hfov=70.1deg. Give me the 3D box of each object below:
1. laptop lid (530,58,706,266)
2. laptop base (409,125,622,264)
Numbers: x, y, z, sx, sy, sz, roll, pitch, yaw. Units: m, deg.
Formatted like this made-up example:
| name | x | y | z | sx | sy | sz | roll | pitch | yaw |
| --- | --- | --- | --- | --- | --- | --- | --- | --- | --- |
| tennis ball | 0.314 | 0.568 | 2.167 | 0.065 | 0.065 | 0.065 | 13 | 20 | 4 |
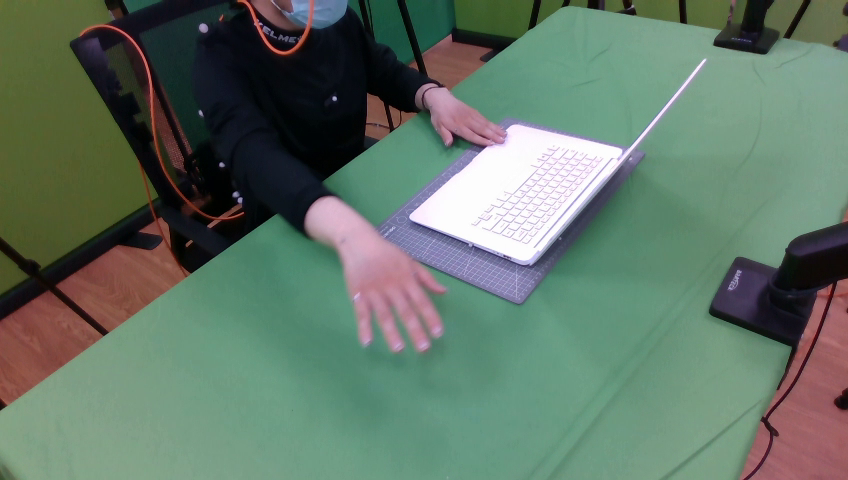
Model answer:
| name | x | y | z | sx | sy | sz | roll | pitch | yaw |
| --- | --- | --- | --- | --- | --- | --- | --- | --- | --- |
| laptop lid | 0.293 | -0.118 | 0.905 | 0.013 | 0.241 | 0.357 | 40 | 53 | 9 |
| laptop base | 0.168 | -0.095 | 1.057 | 0.233 | 0.023 | 0.355 | 20 | 47 | 32 |
